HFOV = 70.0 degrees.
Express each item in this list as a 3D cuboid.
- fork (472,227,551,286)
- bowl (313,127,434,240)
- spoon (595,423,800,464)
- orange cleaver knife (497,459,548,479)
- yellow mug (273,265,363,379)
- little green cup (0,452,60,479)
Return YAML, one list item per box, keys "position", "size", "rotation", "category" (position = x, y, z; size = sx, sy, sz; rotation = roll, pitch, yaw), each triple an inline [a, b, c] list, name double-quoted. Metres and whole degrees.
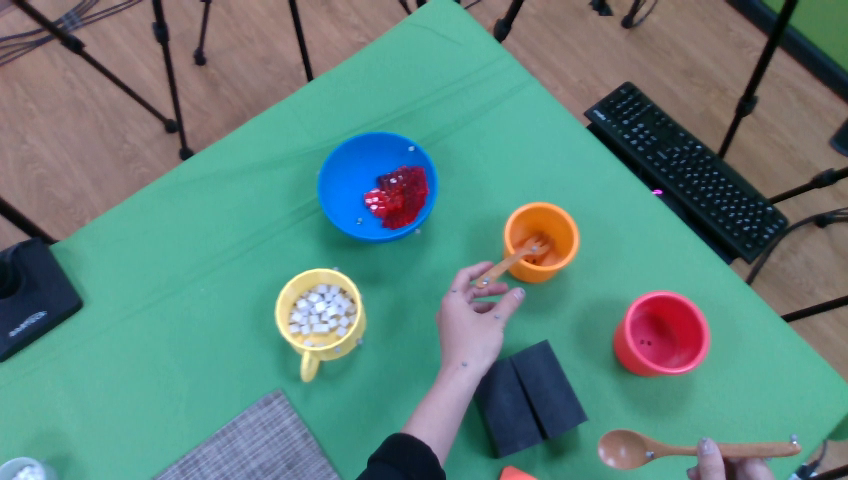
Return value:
- position: [0.107, 0.017, 0.721]
  size: [0.028, 0.019, 0.207]
  rotation: [44, 31, 13]
  category: "fork"
- position: [-0.063, -0.061, 0.785]
  size: [0.151, 0.077, 0.150]
  rotation: [1, 70, -1]
  category: "bowl"
- position: [0.251, 0.196, 0.579]
  size: [0.022, 0.193, 0.041]
  rotation: [6, 73, -40]
  category: "spoon"
- position: [0.164, 0.330, 0.674]
  size: [0.210, 0.012, 0.077]
  rotation: [34, 66, 13]
  category: "orange cleaver knife"
- position: [-0.129, 0.101, 0.728]
  size: [0.100, 0.064, 0.130]
  rotation: [9, 70, 2]
  category: "yellow mug"
- position: [-0.441, 0.269, 0.672]
  size: [0.061, 0.039, 0.061]
  rotation: [0, 69, -1]
  category: "little green cup"
